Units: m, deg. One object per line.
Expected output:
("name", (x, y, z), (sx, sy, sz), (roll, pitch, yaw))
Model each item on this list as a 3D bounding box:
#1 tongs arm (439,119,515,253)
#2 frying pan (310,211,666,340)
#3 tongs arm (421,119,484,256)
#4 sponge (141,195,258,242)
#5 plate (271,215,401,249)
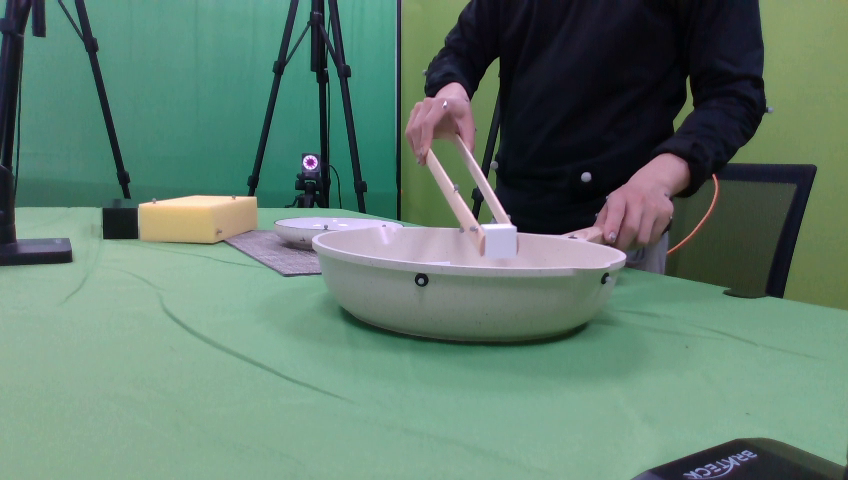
("tongs arm", (0.061, -0.087, 0.771), (0.028, 0.028, 0.386), (-8, 29, -4))
("frying pan", (0.120, 0.011, 0.643), (0.490, 0.102, 0.305), (-13, 16, -36))
("tongs arm", (0.039, -0.085, 0.769), (0.051, 0.026, 0.383), (-7, 29, -10))
("sponge", (-0.380, -0.040, 1.047), (0.118, 0.061, 0.207), (1, 8, 3))
("plate", (-0.141, -0.012, 0.978), (0.208, 0.039, 0.207), (2, 8, 0))
